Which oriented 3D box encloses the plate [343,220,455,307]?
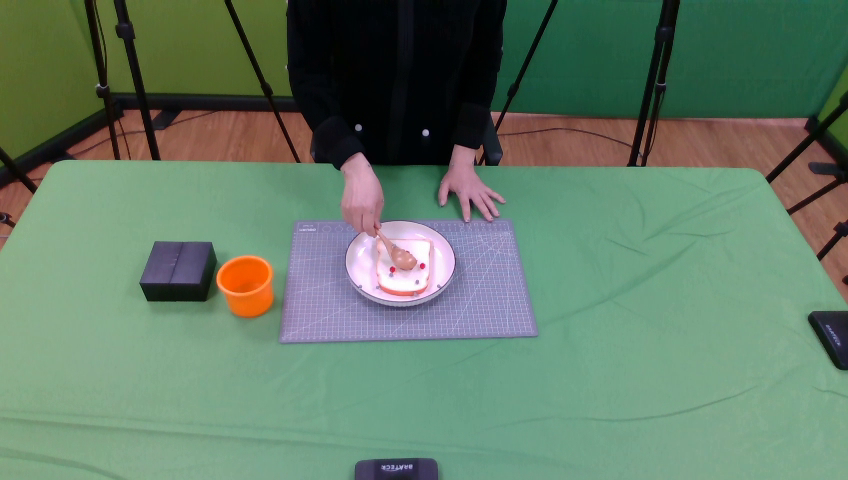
[{"bbox_3d":[-0.047,0.046,1.135,0.209,0.038,0.208,2,46,-2],"label":"plate"}]

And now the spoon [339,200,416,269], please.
[{"bbox_3d":[-0.088,-0.013,1.126,0.193,0.022,0.041,45,50,12],"label":"spoon"}]

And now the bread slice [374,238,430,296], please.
[{"bbox_3d":[-0.039,0.048,1.135,0.107,0.018,0.133,-1,47,-4],"label":"bread slice"}]
